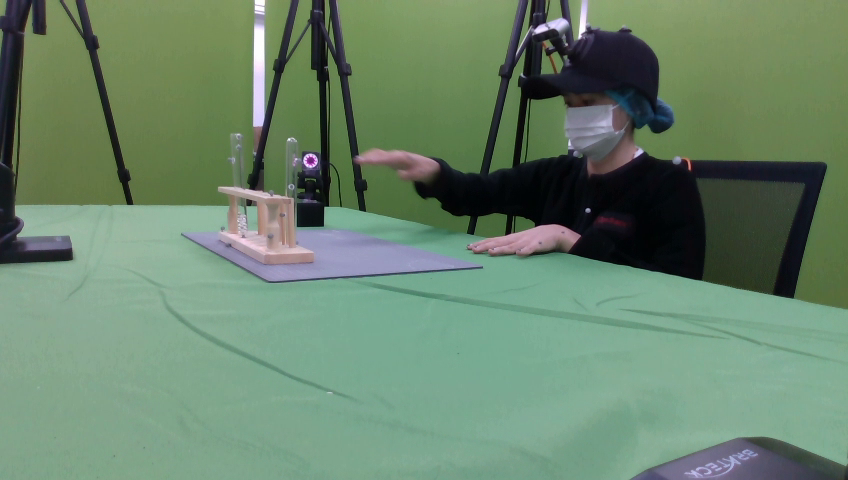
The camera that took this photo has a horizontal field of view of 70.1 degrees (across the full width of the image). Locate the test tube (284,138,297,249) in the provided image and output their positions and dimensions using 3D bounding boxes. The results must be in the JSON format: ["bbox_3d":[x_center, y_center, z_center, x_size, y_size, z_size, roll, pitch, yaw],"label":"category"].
[{"bbox_3d":[-0.181,-0.062,0.816,0.017,0.150,0.017,2,7,0],"label":"test tube"}]

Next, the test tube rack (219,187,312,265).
[{"bbox_3d":[-0.235,-0.027,0.872,0.067,0.085,0.241,-1,8,-31],"label":"test tube rack"}]

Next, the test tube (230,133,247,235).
[{"bbox_3d":[-0.273,-0.081,0.893,0.017,0.150,0.017,-1,9,0],"label":"test tube"}]
